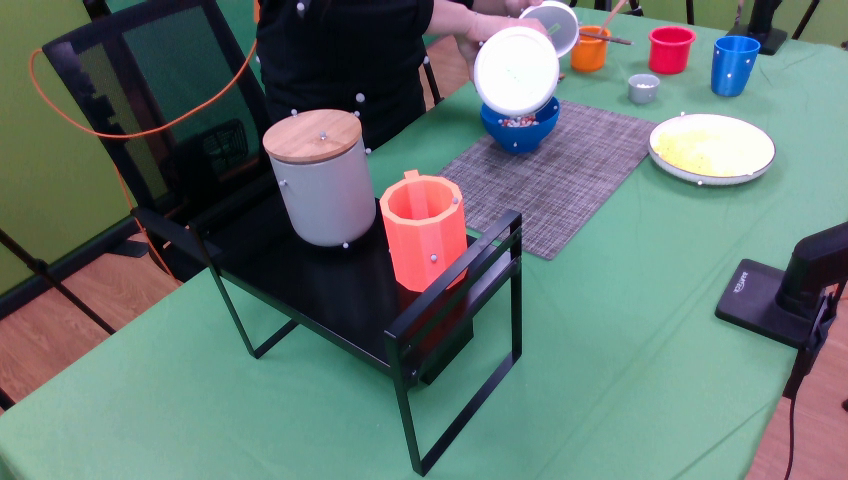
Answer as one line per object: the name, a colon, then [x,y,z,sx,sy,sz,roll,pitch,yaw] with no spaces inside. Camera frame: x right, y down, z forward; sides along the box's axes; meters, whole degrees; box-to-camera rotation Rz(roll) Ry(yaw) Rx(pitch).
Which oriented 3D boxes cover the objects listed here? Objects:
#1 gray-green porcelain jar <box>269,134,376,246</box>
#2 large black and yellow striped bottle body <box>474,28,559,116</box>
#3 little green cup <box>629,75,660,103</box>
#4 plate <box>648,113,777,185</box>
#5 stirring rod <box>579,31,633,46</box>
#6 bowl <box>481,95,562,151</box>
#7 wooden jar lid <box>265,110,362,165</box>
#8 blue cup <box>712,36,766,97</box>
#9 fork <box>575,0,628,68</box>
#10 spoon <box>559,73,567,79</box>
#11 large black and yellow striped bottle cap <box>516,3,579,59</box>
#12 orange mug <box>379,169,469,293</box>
gray-green porcelain jar: [-0.115,-0.064,0.715,0.106,0.127,0.105,-4,40,4]
large black and yellow striped bottle body: [0.158,-0.273,1.006,0.130,0.131,0.184,2,11,12]
little green cup: [0.458,-0.314,1.260,0.061,0.039,0.061,-4,40,4]
plate: [0.506,-0.158,1.073,0.209,0.038,0.208,-5,40,4]
stirring rod: [0.382,-0.454,1.345,0.174,0.006,0.014,27,53,34]
bowl: [0.187,-0.223,1.161,0.151,0.077,0.150,-4,40,4]
wooden jar lid: [-0.122,-0.112,0.673,0.108,0.021,0.108,-4,37,4]
blue cup: [0.627,-0.350,1.227,0.092,0.100,0.092,-4,39,4]
fork: [0.413,-0.481,1.377,0.207,0.019,0.028,-57,43,12]
spoon: [0.250,-0.337,1.332,0.194,0.022,0.041,-32,32,-25]
large black and yellow striped bottle cap: [0.227,-0.383,1.119,0.115,0.115,0.018,0,53,9]
orange mug: [-0.002,-0.019,0.665,0.083,0.101,0.125,-12,45,-4]
